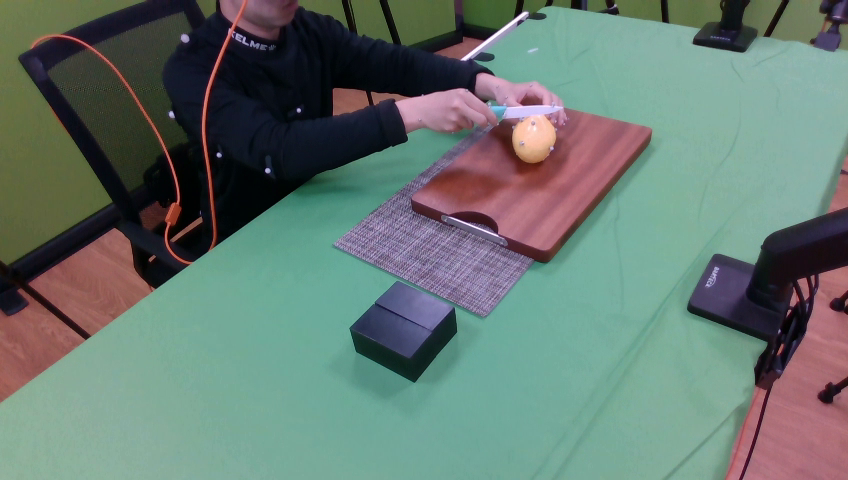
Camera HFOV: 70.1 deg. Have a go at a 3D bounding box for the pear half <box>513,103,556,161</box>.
[{"bbox_3d":[0.196,-0.197,1.060,0.076,0.110,0.056,11,46,14],"label":"pear half"}]

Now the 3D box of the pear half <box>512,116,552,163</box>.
[{"bbox_3d":[0.184,-0.168,1.042,0.070,0.088,0.031,9,43,14],"label":"pear half"}]

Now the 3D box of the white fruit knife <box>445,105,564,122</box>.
[{"bbox_3d":[0.134,-0.219,1.031,0.207,0.027,0.016,-1,49,15],"label":"white fruit knife"}]
